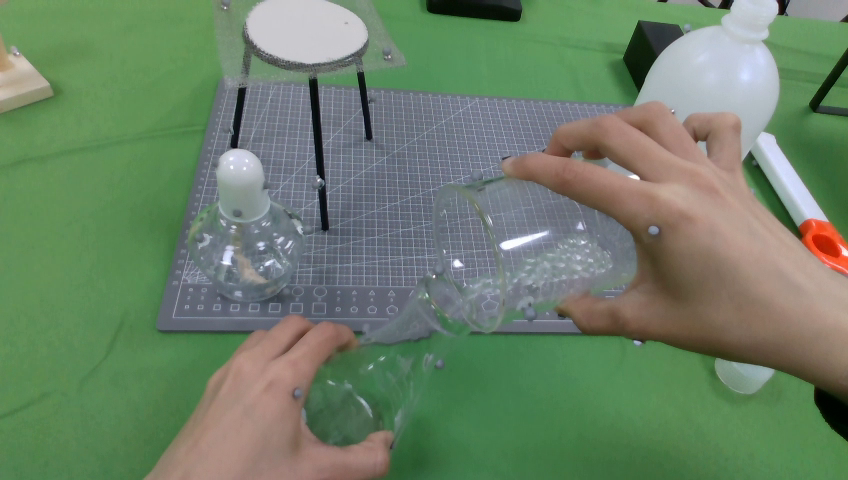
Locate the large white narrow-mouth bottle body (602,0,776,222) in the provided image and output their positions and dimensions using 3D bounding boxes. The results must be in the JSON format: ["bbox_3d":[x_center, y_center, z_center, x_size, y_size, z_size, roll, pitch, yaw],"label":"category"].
[{"bbox_3d":[0.224,-0.112,0.501,0.102,0.196,0.101,4,48,-5],"label":"large white narrow-mouth bottle body"}]

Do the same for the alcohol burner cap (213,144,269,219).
[{"bbox_3d":[-0.117,-0.039,0.382,0.034,0.048,0.033,4,55,-6],"label":"alcohol burner cap"}]

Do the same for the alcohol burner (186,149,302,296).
[{"bbox_3d":[-0.122,-0.016,0.410,0.078,0.120,0.077,6,47,-7],"label":"alcohol burner"}]

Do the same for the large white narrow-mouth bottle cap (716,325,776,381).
[{"bbox_3d":[0.240,0.085,0.452,0.038,0.024,0.037,5,48,-5],"label":"large white narrow-mouth bottle cap"}]

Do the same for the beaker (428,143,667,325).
[{"bbox_3d":[0.062,-0.005,0.308,0.100,0.084,0.073,-16,58,-18],"label":"beaker"}]

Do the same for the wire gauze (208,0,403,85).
[{"bbox_3d":[-0.089,-0.156,0.434,0.122,0.011,0.123,-9,53,-18],"label":"wire gauze"}]

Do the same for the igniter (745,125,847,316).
[{"bbox_3d":[0.356,-0.012,0.552,0.057,0.025,0.273,10,47,-16],"label":"igniter"}]

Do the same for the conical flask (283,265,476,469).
[{"bbox_3d":[-0.021,0.069,0.343,0.076,0.122,0.074,31,28,-18],"label":"conical flask"}]

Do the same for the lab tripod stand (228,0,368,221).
[{"bbox_3d":[-0.093,-0.110,0.483,0.149,0.132,0.147,6,49,-7],"label":"lab tripod stand"}]

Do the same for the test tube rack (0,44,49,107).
[{"bbox_3d":[-0.444,-0.127,0.471,0.242,0.086,0.066,-34,62,-32],"label":"test tube rack"}]
